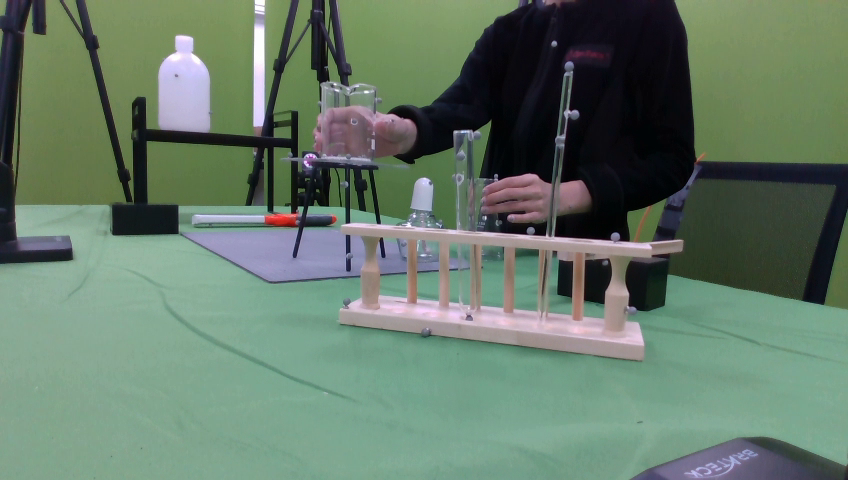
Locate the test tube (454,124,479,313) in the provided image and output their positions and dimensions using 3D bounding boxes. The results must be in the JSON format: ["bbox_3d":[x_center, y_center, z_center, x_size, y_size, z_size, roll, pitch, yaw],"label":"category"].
[{"bbox_3d":[0.034,-0.015,0.477,0.017,0.150,0.017,-2,9,1],"label":"test tube"}]

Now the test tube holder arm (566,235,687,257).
[{"bbox_3d":[0.215,0.006,0.630,0.179,0.015,0.013,-3,9,-31],"label":"test tube holder arm"}]

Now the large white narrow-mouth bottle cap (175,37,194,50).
[{"bbox_3d":[-0.501,-0.409,1.264,0.038,0.024,0.037,2,7,0],"label":"large white narrow-mouth bottle cap"}]

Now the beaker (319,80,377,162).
[{"bbox_3d":[-0.098,-0.150,0.777,0.074,0.100,0.084,1,7,-7],"label":"beaker"}]

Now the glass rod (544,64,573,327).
[{"bbox_3d":[0.101,-0.028,0.453,0.008,0.199,0.008,2,13,0],"label":"glass rod"}]

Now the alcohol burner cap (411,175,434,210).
[{"bbox_3d":[0.000,-0.067,0.842,0.034,0.048,0.034,7,8,-1],"label":"alcohol burner cap"}]

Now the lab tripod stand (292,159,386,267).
[{"bbox_3d":[-0.105,-0.039,0.797,0.148,0.131,0.148,2,5,0],"label":"lab tripod stand"}]

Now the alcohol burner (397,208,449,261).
[{"bbox_3d":[-0.002,-0.031,0.846,0.078,0.119,0.078,0,6,0],"label":"alcohol burner"}]

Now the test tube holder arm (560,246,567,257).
[{"bbox_3d":[0.173,0.007,0.611,0.088,0.015,0.010,-3,9,-30],"label":"test tube holder arm"}]

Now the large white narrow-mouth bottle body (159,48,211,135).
[{"bbox_3d":[-0.503,-0.323,1.275,0.102,0.194,0.102,2,7,0],"label":"large white narrow-mouth bottle body"}]

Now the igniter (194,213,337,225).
[{"bbox_3d":[-0.306,-0.042,1.196,0.278,0.025,0.057,-2,-2,-31],"label":"igniter"}]

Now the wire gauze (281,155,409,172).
[{"bbox_3d":[-0.104,-0.103,0.784,0.126,0.011,0.121,1,8,-38],"label":"wire gauze"}]

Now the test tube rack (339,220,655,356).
[{"bbox_3d":[0.056,0.032,0.495,0.242,0.085,0.067,4,7,15],"label":"test tube rack"}]

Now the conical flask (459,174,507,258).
[{"bbox_3d":[0.091,-0.037,0.904,0.075,0.122,0.075,2,8,0],"label":"conical flask"}]
